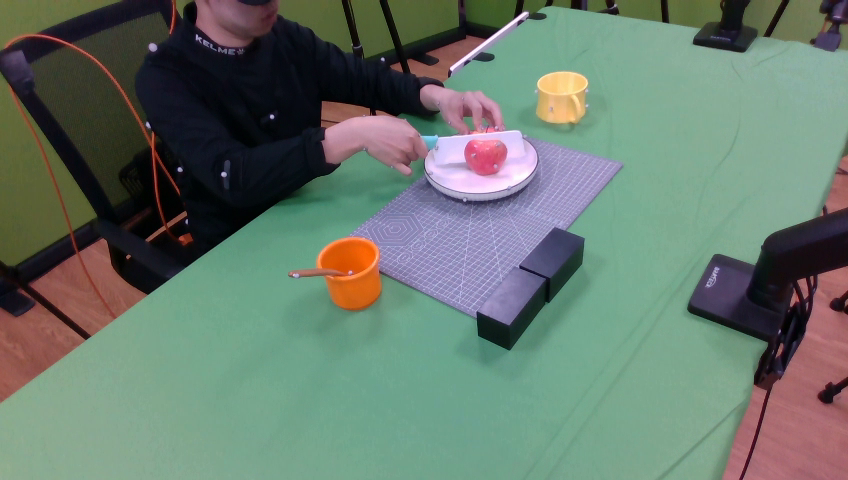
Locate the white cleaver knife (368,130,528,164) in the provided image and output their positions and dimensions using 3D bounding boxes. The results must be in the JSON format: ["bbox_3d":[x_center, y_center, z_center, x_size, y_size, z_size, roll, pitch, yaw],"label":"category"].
[{"bbox_3d":[0.038,-0.159,1.069,0.286,0.066,0.021,-1,43,11],"label":"white cleaver knife"}]

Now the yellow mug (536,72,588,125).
[{"bbox_3d":[0.285,-0.281,1.222,0.100,0.064,0.130,-16,42,-9],"label":"yellow mug"}]

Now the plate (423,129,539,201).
[{"bbox_3d":[0.103,-0.132,1.092,0.209,0.038,0.208,-4,40,4],"label":"plate"}]

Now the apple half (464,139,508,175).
[{"bbox_3d":[0.108,-0.139,1.060,0.081,0.081,0.032,-1,44,8],"label":"apple half"}]

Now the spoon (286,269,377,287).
[{"bbox_3d":[-0.125,0.050,0.831,0.041,0.195,0.021,22,93,28],"label":"spoon"}]

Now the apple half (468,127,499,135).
[{"bbox_3d":[0.111,-0.167,1.090,0.080,0.075,0.053,-2,35,8],"label":"apple half"}]
